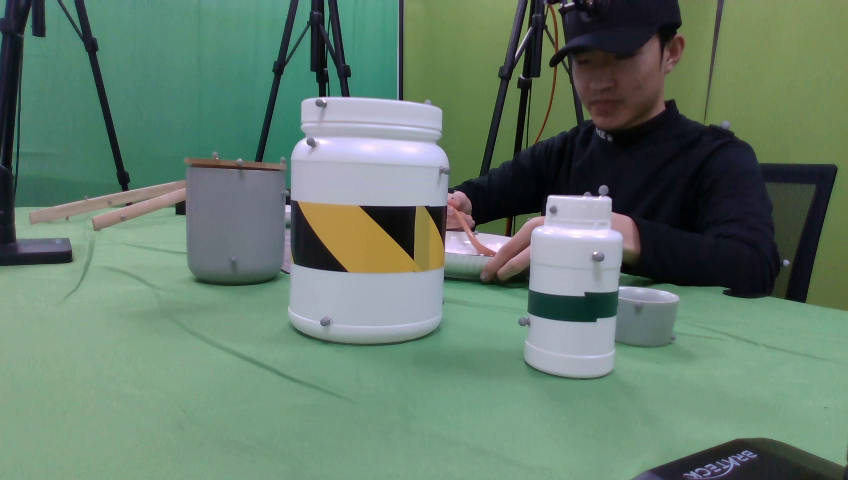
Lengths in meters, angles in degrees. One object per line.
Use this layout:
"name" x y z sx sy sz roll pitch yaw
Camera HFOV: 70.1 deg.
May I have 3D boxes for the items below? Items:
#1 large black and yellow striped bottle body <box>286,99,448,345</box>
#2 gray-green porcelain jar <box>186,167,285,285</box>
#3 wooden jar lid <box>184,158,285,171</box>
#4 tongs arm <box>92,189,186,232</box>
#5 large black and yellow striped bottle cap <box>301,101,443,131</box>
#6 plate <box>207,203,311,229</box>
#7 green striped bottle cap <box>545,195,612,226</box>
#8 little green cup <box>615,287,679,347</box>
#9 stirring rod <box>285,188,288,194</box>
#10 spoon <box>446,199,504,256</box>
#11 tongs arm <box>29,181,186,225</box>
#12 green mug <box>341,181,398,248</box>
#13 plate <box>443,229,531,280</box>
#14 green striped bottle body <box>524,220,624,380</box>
"large black and yellow striped bottle body" -0.047 -0.018 0.501 0.131 0.184 0.130 2 7 0
"gray-green porcelain jar" -0.212 -0.017 0.682 0.106 0.126 0.106 2 7 0
"wooden jar lid" -0.210 -0.078 0.674 0.108 0.020 0.108 5 6 0
"tongs arm" -0.534 -0.076 1.221 0.028 0.028 0.388 -2 15 12
"large black and yellow striped bottle cap" -0.042 -0.100 0.491 0.115 0.019 0.115 1 8 0
"plate" -0.342 -0.050 1.259 0.208 0.039 0.207 2 7 0
"green striped bottle cap" 0.105 -0.020 0.415 0.044 0.020 0.044 2 5 0
"little green cup" 0.180 0.064 0.506 0.061 0.038 0.061 1 8 0
"stirring rod" -0.353 -0.122 1.519 0.006 0.014 0.176 1 6 1
"spoon" 0.048 -0.035 0.886 0.193 0.021 0.042 49 5 26
"tongs arm" -0.609 -0.083 1.245 0.050 0.026 0.386 5 16 23
"green mug" -0.090 -0.044 0.997 0.093 0.105 0.125 1 7 -8
"plate" 0.055 0.019 0.815 0.209 0.038 0.209 3 9 0
"green striped bottle body" 0.104 0.031 0.422 0.063 0.119 0.063 2 8 0
